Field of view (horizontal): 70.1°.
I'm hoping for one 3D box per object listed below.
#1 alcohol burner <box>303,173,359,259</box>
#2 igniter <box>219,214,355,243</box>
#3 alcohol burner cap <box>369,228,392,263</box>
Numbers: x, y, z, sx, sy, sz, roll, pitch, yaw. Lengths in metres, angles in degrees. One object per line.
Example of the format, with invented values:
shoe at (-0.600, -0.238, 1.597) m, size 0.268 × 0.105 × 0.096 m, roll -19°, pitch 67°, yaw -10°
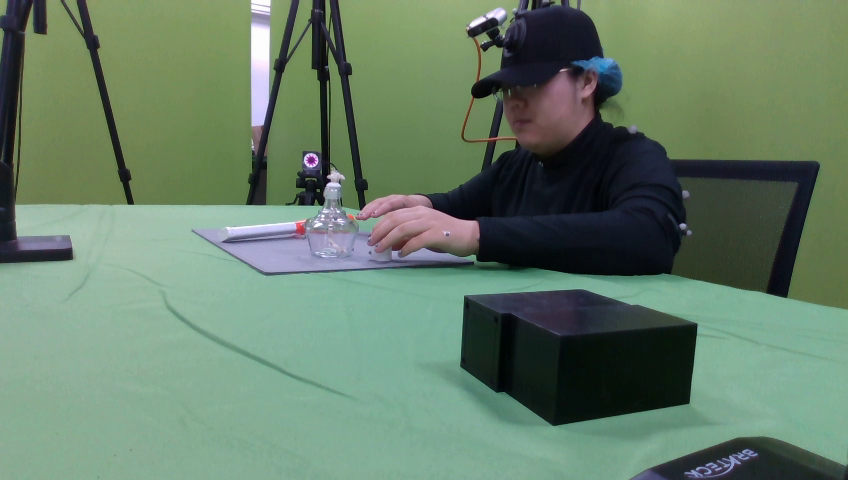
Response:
alcohol burner at (-0.130, -0.034, 0.850) m, size 0.078 × 0.119 × 0.078 m, roll 2°, pitch 5°, yaw 0°
igniter at (-0.219, -0.021, 1.033) m, size 0.057 × 0.025 × 0.278 m, roll -20°, pitch -7°, yaw 39°
alcohol burner cap at (-0.059, 0.007, 0.834) m, size 0.034 × 0.048 × 0.034 m, roll 4°, pitch 7°, yaw 0°
